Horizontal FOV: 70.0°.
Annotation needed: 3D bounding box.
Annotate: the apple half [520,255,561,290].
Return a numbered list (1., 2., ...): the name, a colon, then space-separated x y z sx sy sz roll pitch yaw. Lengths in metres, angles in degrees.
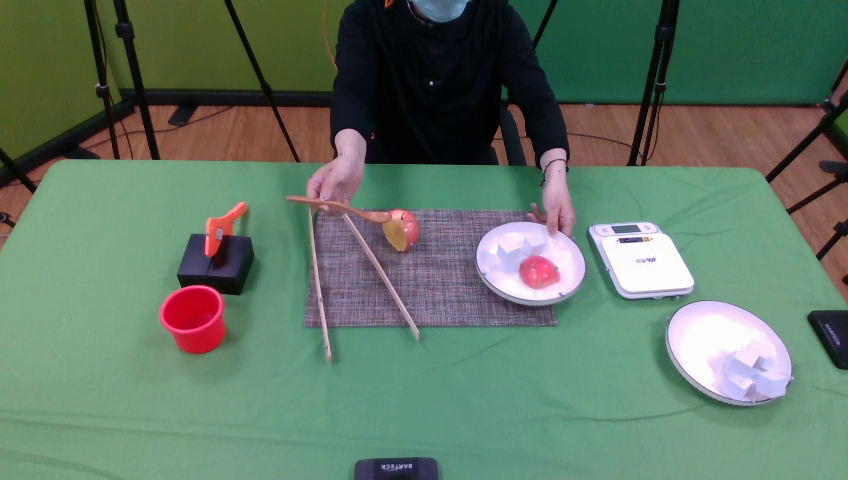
1. apple half: 0.217 0.052 1.129 0.081 0.033 0.081 3 48 -3

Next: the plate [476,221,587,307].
1. plate: 0.199 0.047 1.141 0.209 0.038 0.208 1 46 -1

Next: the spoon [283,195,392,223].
1. spoon: -0.144 -0.056 1.027 0.194 0.022 0.041 14 23 -29

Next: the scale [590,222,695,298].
1. scale: 0.424 0.031 1.189 0.149 0.032 0.199 -3 46 -7

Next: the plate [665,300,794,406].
1. plate: 0.513 0.194 1.034 0.208 0.039 0.206 2 46 -2

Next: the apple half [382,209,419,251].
1. apple half: -0.039 -0.022 1.175 0.053 0.075 0.080 -26 50 -31

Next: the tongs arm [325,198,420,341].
1. tongs arm: -0.101 0.042 1.139 0.028 0.028 0.385 -23 51 -18

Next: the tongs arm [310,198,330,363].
1. tongs arm: -0.180 0.058 1.117 0.051 0.026 0.382 -9 47 -11

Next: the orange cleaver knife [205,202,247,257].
1. orange cleaver knife: -0.374 -0.024 1.151 0.012 0.077 0.210 4 16 1
